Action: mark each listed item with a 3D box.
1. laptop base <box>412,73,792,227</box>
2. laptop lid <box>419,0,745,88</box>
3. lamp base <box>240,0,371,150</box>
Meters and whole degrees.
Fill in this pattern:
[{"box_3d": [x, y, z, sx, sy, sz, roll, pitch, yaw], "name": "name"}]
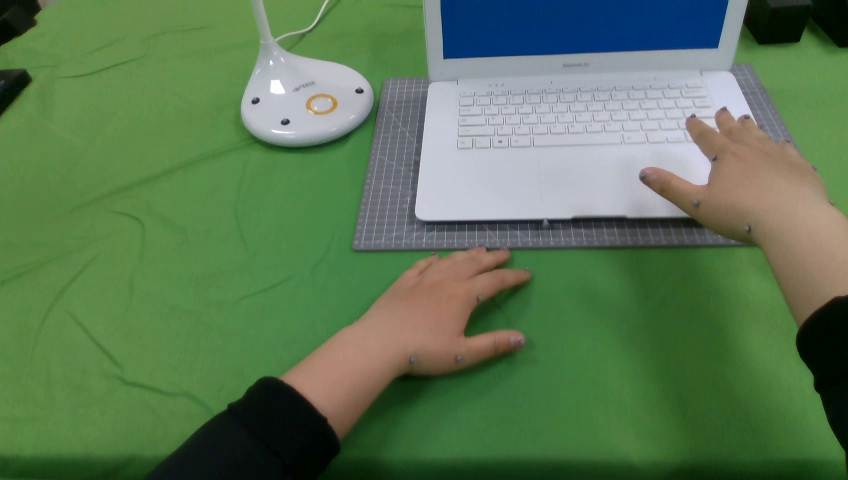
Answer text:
[{"box_3d": [0.170, -0.099, 0.648, 0.354, 0.023, 0.233, -1, 50, 6], "name": "laptop base"}, {"box_3d": [0.168, -0.278, 0.653, 0.356, 0.244, 0.013, -2, 39, 6], "name": "laptop lid"}, {"box_3d": [-0.160, -0.220, 0.689, 0.177, 0.182, 0.160, 30, 56, 33], "name": "lamp base"}]
